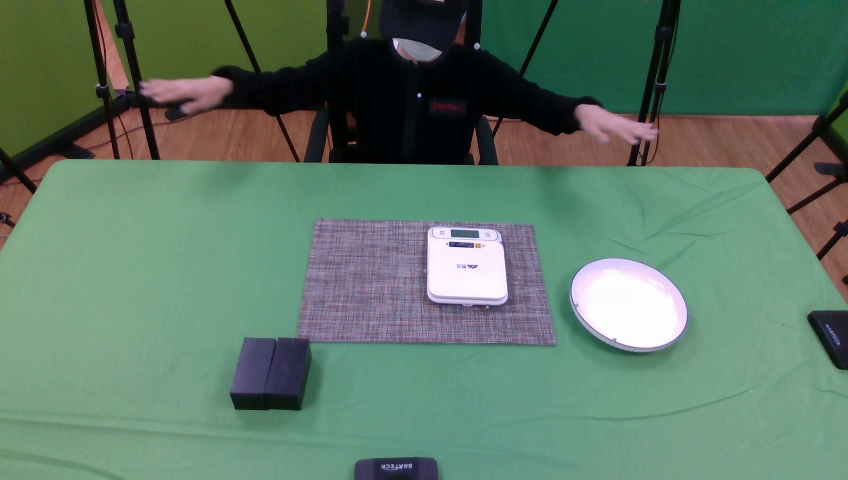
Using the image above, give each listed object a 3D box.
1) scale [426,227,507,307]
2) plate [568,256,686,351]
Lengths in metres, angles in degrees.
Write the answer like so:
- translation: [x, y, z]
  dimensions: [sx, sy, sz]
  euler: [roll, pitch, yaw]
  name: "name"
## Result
- translation: [0.078, 0.043, 1.152]
  dimensions: [0.149, 0.032, 0.199]
  euler: [3, 45, -2]
  name: "scale"
- translation: [0.364, 0.118, 1.102]
  dimensions: [0.208, 0.039, 0.206]
  euler: [2, 46, -2]
  name: "plate"
